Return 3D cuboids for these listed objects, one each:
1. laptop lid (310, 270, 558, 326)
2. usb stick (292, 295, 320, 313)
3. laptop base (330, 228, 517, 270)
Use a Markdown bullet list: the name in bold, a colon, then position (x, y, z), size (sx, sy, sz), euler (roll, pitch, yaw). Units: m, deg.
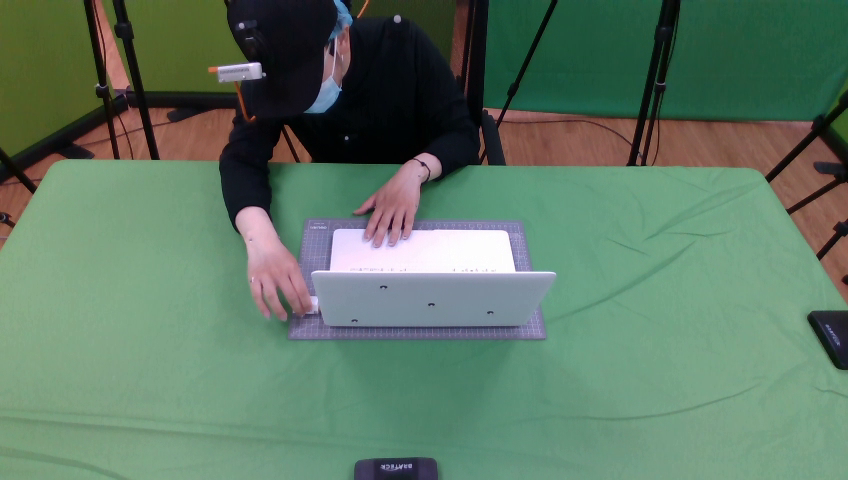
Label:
- **laptop lid**: position (0.011, 0.096, 0.948), size (0.357, 0.242, 0.013), euler (1, 64, -4)
- **usb stick**: position (-0.199, 0.112, 1.059), size (0.059, 0.027, 0.021), euler (3, 41, -6)
- **laptop base**: position (0.001, 0.064, 1.134), size (0.354, 0.023, 0.234), euler (0, 43, -3)
